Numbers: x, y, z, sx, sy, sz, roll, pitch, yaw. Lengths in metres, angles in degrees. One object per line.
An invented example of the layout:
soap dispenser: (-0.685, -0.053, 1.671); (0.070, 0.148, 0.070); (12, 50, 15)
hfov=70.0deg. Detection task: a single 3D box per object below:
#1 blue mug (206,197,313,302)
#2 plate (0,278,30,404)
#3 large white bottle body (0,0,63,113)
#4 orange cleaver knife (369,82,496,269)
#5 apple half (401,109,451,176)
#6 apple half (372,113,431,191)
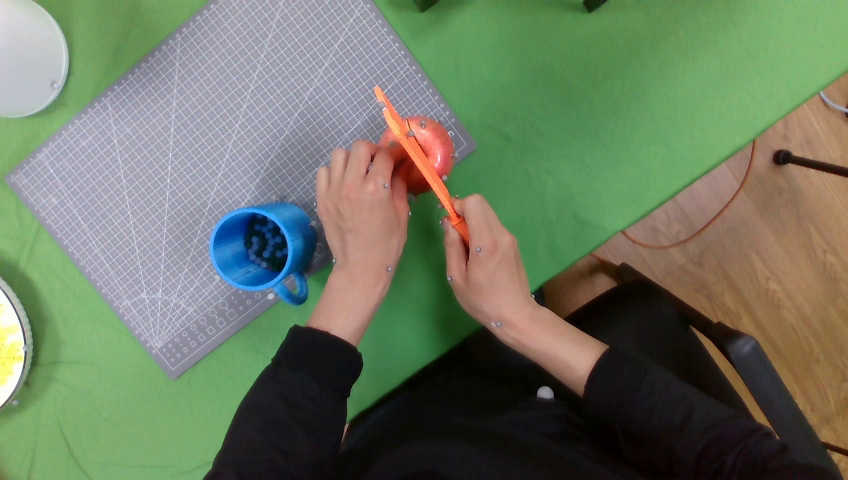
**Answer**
blue mug: (-0.161, 0.013, 0.639); (0.082, 0.105, 0.117); (-29, 96, 5)
plate: (-0.555, 0.108, 0.700); (0.209, 0.038, 0.209); (0, 99, 2)
large white bottle body: (-0.461, -0.194, 0.578); (0.130, 0.184, 0.131); (0, 97, 2)
orange cleaver knife: (0.011, -0.057, 0.577); (0.012, 0.076, 0.213); (-31, 121, 9)
apple half: (0.009, -0.108, 0.631); (0.033, 0.081, 0.081); (-29, 96, 9)
apple half: (-0.026, -0.087, 0.637); (0.053, 0.074, 0.081); (-26, 100, 11)
